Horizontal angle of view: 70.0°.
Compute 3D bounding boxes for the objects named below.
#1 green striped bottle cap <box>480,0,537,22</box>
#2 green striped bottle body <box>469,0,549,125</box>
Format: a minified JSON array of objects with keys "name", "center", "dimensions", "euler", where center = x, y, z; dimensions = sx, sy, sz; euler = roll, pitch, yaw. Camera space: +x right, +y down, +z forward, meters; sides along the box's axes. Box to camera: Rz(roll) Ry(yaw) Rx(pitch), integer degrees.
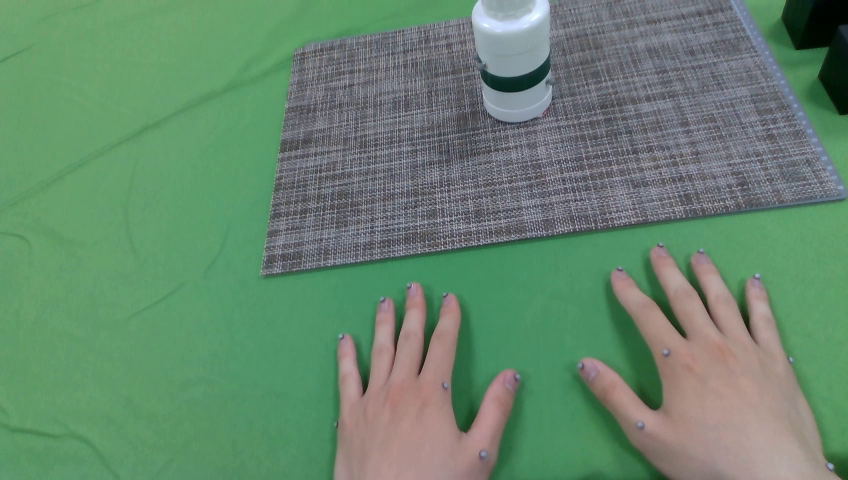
[{"name":"green striped bottle cap","center":[0.065,-0.191,0.472],"dimensions":[0.044,0.020,0.044],"euler":[-7,54,11]},{"name":"green striped bottle body","center":[0.074,-0.161,0.515],"dimensions":[0.063,0.120,0.062],"euler":[-6,53,9]}]
